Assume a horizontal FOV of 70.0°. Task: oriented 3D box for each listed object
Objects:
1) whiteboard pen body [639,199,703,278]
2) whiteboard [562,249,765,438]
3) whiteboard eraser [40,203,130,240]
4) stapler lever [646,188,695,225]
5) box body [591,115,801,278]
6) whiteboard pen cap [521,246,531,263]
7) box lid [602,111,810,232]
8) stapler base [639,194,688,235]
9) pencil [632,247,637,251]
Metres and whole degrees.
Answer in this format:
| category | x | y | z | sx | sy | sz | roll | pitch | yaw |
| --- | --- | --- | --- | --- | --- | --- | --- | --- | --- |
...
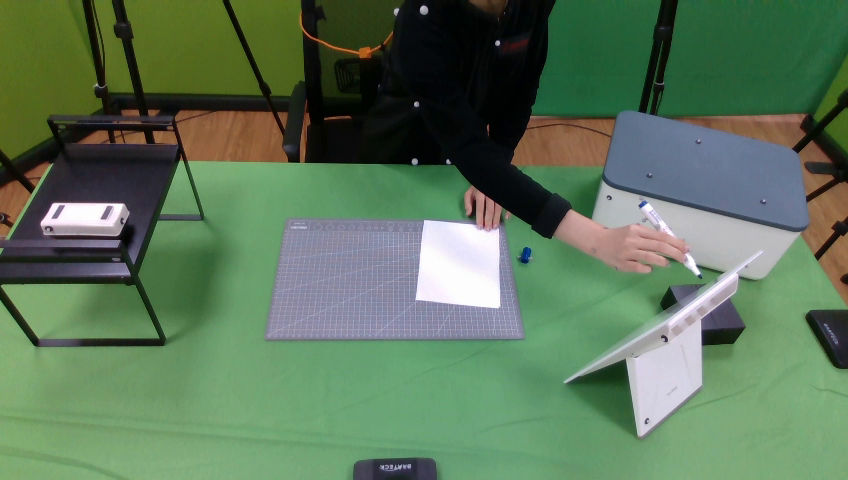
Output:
| category | x | y | z | sx | sy | sz | roll | pitch | yaw |
| --- | --- | --- | --- | --- | --- | --- | --- | --- | --- |
| whiteboard pen body | 0.366 | -0.001 | 0.894 | 0.017 | 0.017 | 0.140 | -32 | 82 | -30 |
| whiteboard | 0.386 | 0.175 | 0.905 | 0.217 | 0.306 | 0.143 | -26 | 72 | -26 |
| whiteboard eraser | -0.513 | -0.028 | 0.922 | 0.113 | 0.042 | 0.055 | 1 | 48 | -3 |
| stapler lever | 0.516 | -0.078 | 1.265 | 0.027 | 0.040 | 0.117 | 0 | 41 | -31 |
| box body | 0.540 | -0.092 | 1.229 | 0.363 | 0.161 | 0.253 | 16 | 47 | 11 |
| whiteboard pen cap | 0.200 | 0.029 | 1.188 | 0.018 | 0.018 | 0.033 | 14 | 47 | 9 |
| box lid | 0.545 | -0.143 | 1.176 | 0.371 | 0.015 | 0.262 | 15 | 47 | 11 |
| stapler base | 0.510 | -0.059 | 1.278 | 0.041 | 0.024 | 0.129 | 0 | 39 | -31 |
| pencil | 0.431 | -0.060 | 1.284 | 0.012 | 0.012 | 0.193 | 3 | 56 | -2 |
